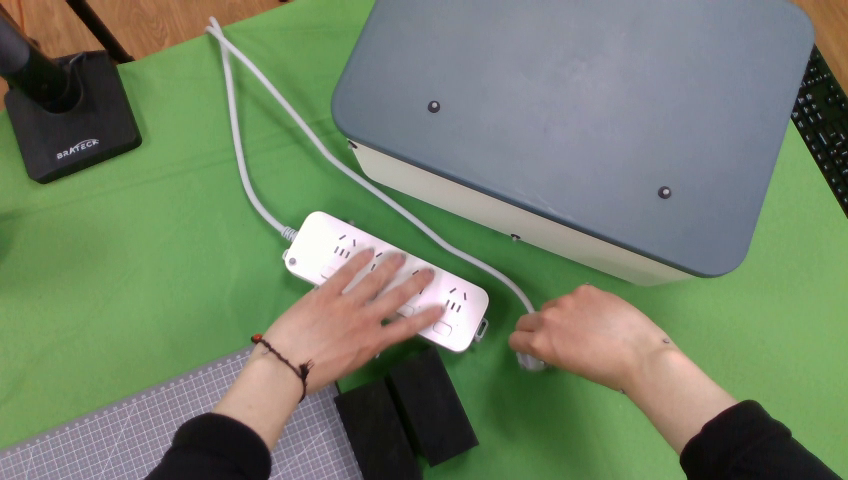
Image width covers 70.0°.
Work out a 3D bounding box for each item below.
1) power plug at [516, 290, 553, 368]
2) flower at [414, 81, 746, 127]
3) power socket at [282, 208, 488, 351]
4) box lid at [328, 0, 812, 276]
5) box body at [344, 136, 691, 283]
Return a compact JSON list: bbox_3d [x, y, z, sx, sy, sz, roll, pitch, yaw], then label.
[{"bbox_3d":[0.114,0.092,0.608,0.035,0.053,0.072,14,74,-3],"label":"power plug"},{"bbox_3d":[0.157,-0.160,0.671,0.360,0.038,0.044,9,69,20],"label":"flower"},{"bbox_3d":[-0.039,0.040,0.625,0.226,0.033,0.072,26,79,4],"label":"power socket"},{"bbox_3d":[0.129,-0.147,0.522,0.371,0.015,0.262,22,81,3],"label":"box lid"},{"bbox_3d":[0.127,-0.133,0.595,0.364,0.161,0.253,21,79,3],"label":"box body"}]
